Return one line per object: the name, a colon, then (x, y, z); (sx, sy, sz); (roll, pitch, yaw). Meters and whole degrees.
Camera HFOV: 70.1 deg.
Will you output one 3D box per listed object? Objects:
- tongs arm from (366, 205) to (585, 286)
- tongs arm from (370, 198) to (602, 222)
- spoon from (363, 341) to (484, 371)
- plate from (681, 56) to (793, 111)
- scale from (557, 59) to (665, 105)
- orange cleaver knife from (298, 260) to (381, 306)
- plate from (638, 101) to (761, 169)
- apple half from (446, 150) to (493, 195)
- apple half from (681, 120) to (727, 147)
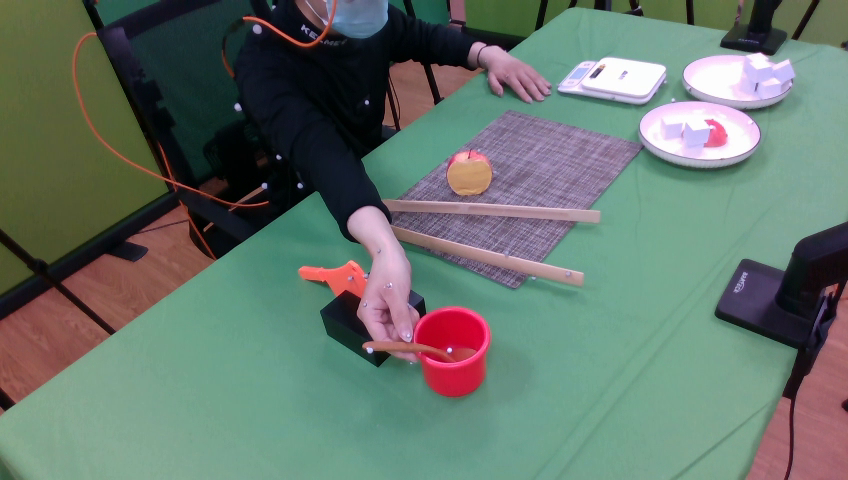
tongs arm: (0.067, 0.004, 0.951); (0.382, 0.026, 0.051); (13, 46, 23)
tongs arm: (0.097, -0.048, 1.008); (0.386, 0.028, 0.028); (3, 46, 13)
spoon: (0.003, 0.134, 0.724); (0.021, 0.195, 0.041); (-54, 45, 16)
plate: (0.636, -0.317, 1.239); (0.207, 0.039, 0.206); (-4, 40, 4)
scale: (0.407, -0.348, 1.314); (0.199, 0.032, 0.149); (19, 47, 28)
orange cleaver knife: (-0.125, 0.063, 0.875); (0.012, 0.077, 0.210); (-38, 19, -29)
plate: (0.500, -0.189, 1.111); (0.209, 0.038, 0.208); (-4, 41, 4)
apple half: (0.080, -0.123, 1.065); (0.081, 0.075, 0.053); (-7, 36, 7)
apple half: (0.518, -0.202, 1.115); (0.081, 0.033, 0.081); (-1, 40, 2)
